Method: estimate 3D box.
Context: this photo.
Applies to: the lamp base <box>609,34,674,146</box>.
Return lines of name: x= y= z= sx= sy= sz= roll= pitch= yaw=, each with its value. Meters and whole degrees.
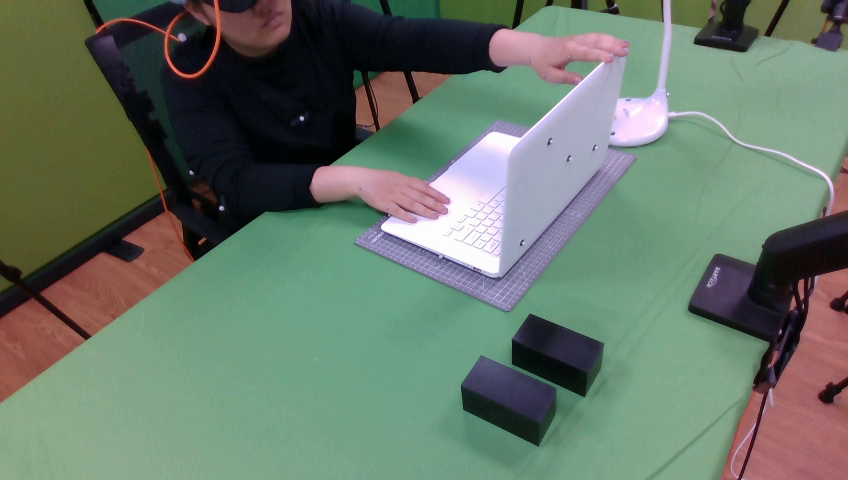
lamp base: x=0.393 y=-0.291 z=1.129 sx=0.180 sy=0.181 sz=0.159 roll=-11 pitch=41 yaw=-8

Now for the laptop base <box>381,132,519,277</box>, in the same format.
laptop base: x=0.122 y=-0.077 z=1.043 sx=0.233 sy=0.023 sz=0.355 roll=20 pitch=47 yaw=33

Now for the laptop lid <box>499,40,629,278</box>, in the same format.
laptop lid: x=0.212 y=-0.124 z=0.900 sx=0.013 sy=0.242 sz=0.358 roll=26 pitch=49 yaw=27
